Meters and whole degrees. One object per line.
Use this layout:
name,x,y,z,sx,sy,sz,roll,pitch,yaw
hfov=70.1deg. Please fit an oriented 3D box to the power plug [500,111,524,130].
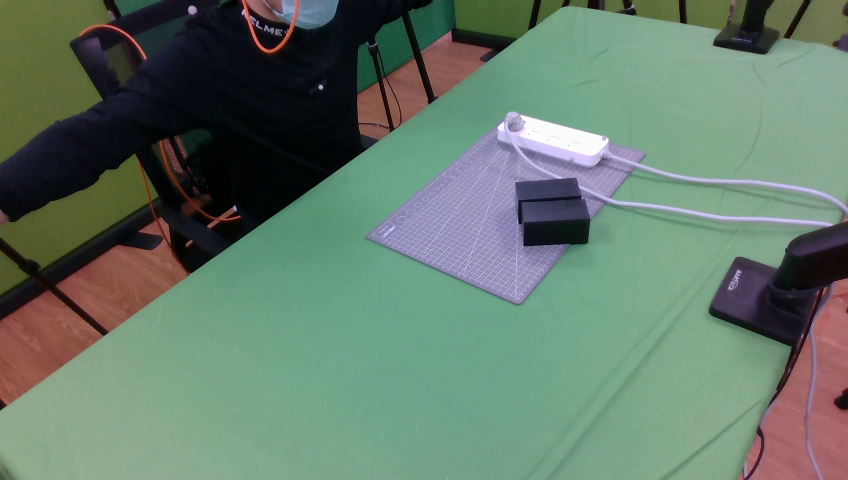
power plug,0.160,-0.217,1.149,0.073,0.053,0.035,-33,47,-26

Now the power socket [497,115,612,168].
power socket,0.240,-0.191,1.143,0.225,0.033,0.072,23,50,30
